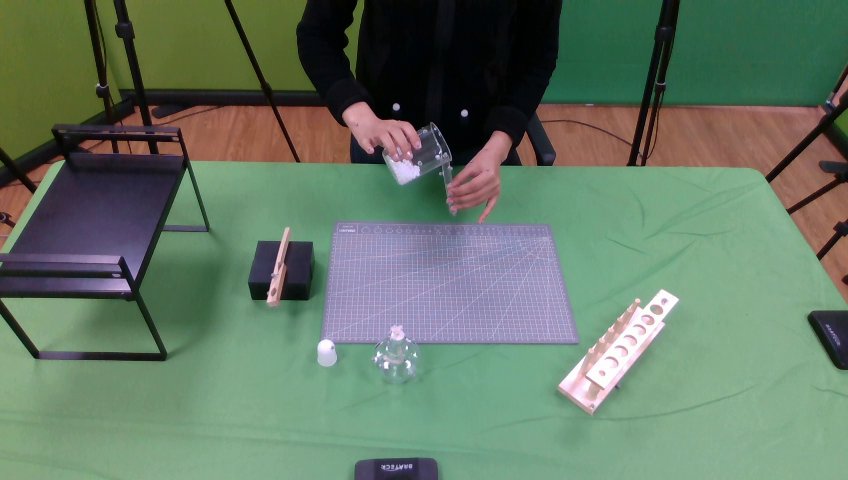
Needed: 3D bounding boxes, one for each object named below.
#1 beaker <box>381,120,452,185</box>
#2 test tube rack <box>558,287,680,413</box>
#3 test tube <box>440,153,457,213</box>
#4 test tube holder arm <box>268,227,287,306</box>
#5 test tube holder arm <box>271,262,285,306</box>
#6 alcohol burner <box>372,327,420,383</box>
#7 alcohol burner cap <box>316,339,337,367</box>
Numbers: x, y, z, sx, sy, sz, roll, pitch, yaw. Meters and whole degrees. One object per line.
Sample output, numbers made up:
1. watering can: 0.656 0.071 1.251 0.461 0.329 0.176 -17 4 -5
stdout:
1. beaker: -0.014 -0.142 1.015 0.100 0.084 0.073 -29 59 -3
2. test tube rack: 0.326 0.170 1.009 0.066 0.085 0.242 36 54 27
3. test tube: 0.046 -0.101 1.110 0.017 0.151 0.017 -5 51 7
4. test tube holder arm: -0.258 0.043 1.071 0.013 0.015 0.177 -6 46 1
5. test tube holder arm: -0.250 0.075 1.040 0.010 0.015 0.087 -5 46 2
6. alcohol burner: -0.044 0.175 0.961 0.078 0.120 0.077 1 48 -1
7. alcohol burner cap: -0.161 0.182 0.995 0.034 0.048 0.033 2 47 -2
